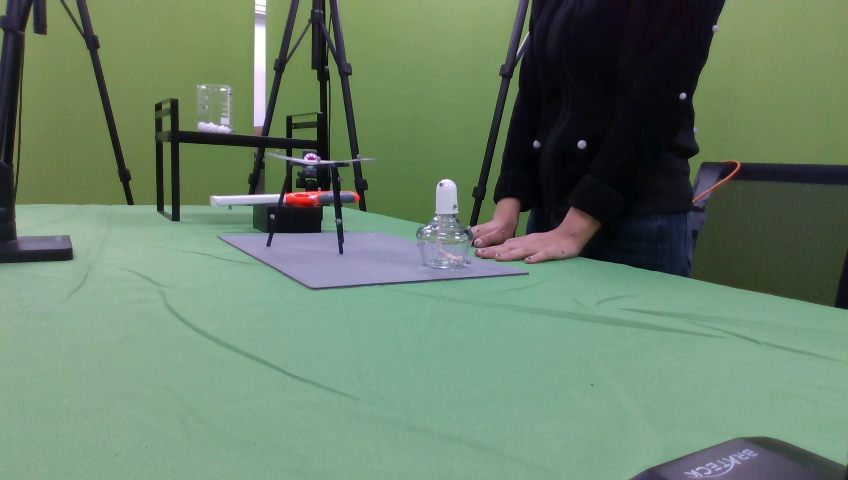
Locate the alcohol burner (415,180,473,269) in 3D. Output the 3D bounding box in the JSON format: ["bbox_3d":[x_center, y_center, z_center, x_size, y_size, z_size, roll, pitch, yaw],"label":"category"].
[{"bbox_3d":[0.028,-0.021,0.807,0.078,0.119,0.078,4,5,0],"label":"alcohol burner"}]

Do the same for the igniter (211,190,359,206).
[{"bbox_3d":[-0.257,-0.079,1.148,0.278,0.025,0.057,-4,12,-30],"label":"igniter"}]

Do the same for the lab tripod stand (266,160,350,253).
[{"bbox_3d":[-0.163,-0.054,0.915,0.148,0.131,0.148,2,9,0],"label":"lab tripod stand"}]

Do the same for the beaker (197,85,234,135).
[{"bbox_3d":[-0.444,-0.275,1.283,0.074,0.100,0.084,5,8,22],"label":"beaker"}]

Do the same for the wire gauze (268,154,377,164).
[{"bbox_3d":[-0.154,-0.120,0.910,0.122,0.011,0.124,-5,11,-44],"label":"wire gauze"}]

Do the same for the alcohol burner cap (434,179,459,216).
[{"bbox_3d":[0.031,-0.057,0.802,0.034,0.048,0.034,-1,11,0],"label":"alcohol burner cap"}]
